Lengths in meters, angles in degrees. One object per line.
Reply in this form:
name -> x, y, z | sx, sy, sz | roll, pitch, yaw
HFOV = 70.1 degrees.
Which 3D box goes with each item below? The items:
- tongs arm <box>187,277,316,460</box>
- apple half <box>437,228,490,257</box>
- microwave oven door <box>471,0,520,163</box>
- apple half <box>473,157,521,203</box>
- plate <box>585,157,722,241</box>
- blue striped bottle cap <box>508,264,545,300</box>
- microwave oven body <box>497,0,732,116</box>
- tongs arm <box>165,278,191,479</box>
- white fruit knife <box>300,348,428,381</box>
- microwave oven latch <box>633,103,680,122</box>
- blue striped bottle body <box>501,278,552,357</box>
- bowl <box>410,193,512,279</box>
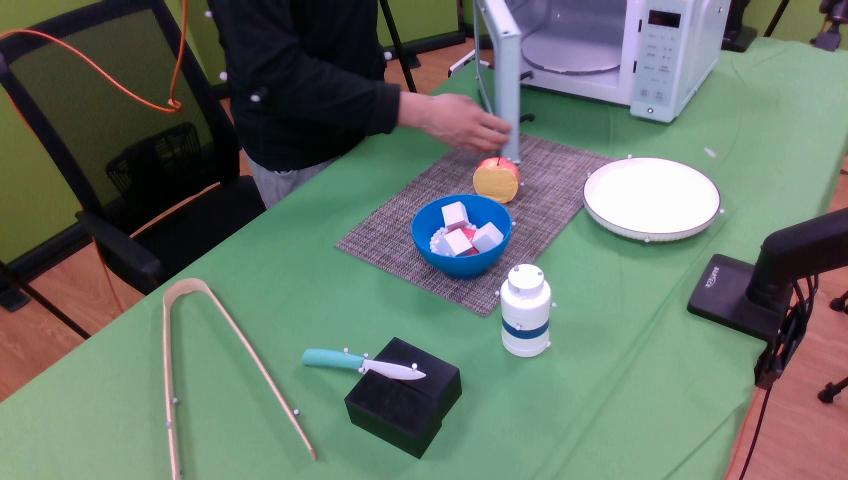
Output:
tongs arm -> -0.240, 0.154, 0.815 | 0.028, 0.028, 0.384 | -31, 46, -21
apple half -> 0.056, 0.002, 0.902 | 0.081, 0.033, 0.081 | -3, 40, 3
microwave oven door -> 0.132, -0.342, 1.153 | 0.039, 0.245, 0.353 | -7, 41, 1
apple half -> 0.127, -0.106, 1.030 | 0.080, 0.075, 0.053 | 4, 37, 19
plate -> 0.367, -0.063, 0.979 | 0.207, 0.039, 0.206 | -4, 40, 4
blue striped bottle cap -> 0.125, 0.051, 0.735 | 0.044, 0.021, 0.044 | -6, 39, 5
microwave oven body -> 0.377, -0.462, 1.267 | 0.438, 0.261, 0.327 | 21, 48, 30
tongs arm -> -0.313, 0.182, 0.789 | 0.051, 0.026, 0.381 | -19, 41, -14
white fruit knife -> -0.079, 0.154, 0.748 | 0.206, 0.027, 0.016 | 1, 20, 34
microwave oven latch -> 0.444, -0.249, 1.157 | 0.078, 0.029, 0.030 | 21, 48, 30
blue striped bottle body -> 0.129, 0.089, 0.769 | 0.063, 0.121, 0.063 | -4, 41, 4
bowl -> 0.058, 0.005, 0.905 | 0.151, 0.077, 0.150 | -4, 40, 4
